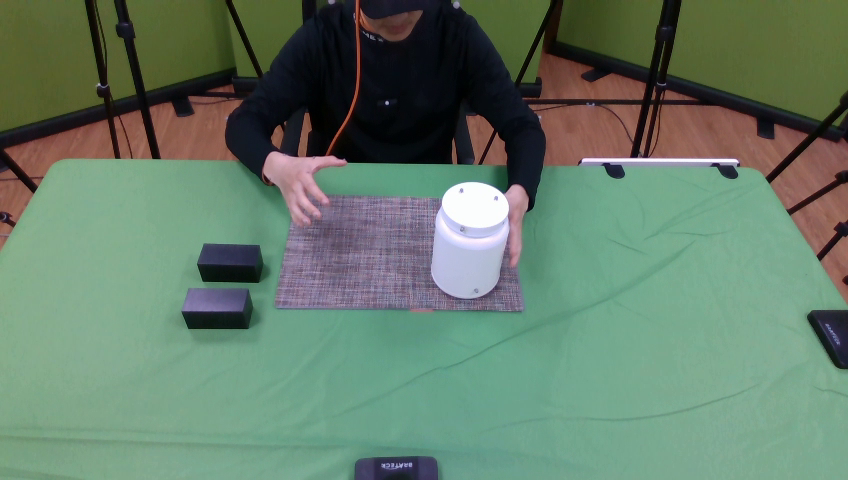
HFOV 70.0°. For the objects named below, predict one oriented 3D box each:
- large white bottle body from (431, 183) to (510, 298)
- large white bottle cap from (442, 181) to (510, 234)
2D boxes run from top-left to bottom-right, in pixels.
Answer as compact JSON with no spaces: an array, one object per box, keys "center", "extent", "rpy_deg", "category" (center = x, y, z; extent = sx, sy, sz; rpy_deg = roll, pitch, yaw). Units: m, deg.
[{"center":[0.082,0.000,1.083],"extent":[0.131,0.185,0.130],"rpy_deg":[2,47,-2],"category":"large white bottle body"},{"center":[0.087,-0.057,1.022],"extent":[0.115,0.018,0.114],"rpy_deg":[2,47,-2],"category":"large white bottle cap"}]
